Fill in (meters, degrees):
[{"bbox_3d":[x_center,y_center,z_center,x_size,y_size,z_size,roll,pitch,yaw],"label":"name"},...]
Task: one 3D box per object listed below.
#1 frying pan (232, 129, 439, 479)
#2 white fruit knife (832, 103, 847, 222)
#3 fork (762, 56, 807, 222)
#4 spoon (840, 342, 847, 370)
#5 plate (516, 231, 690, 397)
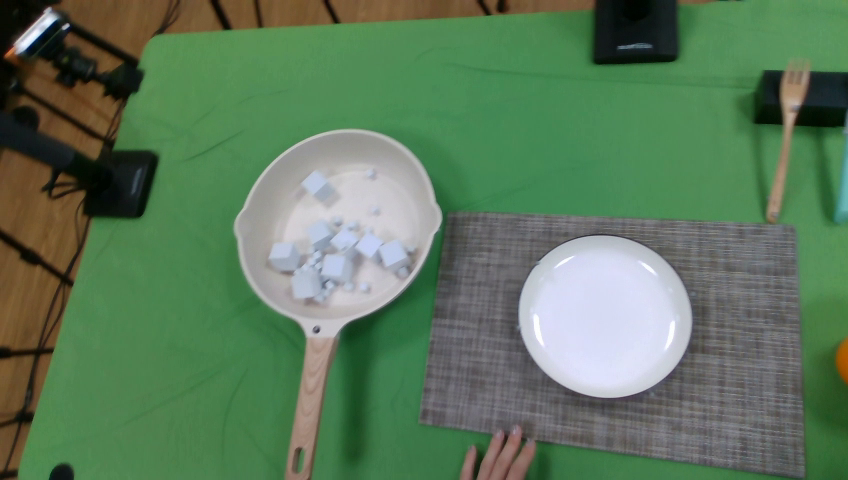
[{"bbox_3d":[-0.133,0.076,0.823,0.306,0.104,0.484,0,63,15],"label":"frying pan"},{"bbox_3d":[0.520,-0.126,0.743,0.016,0.027,0.207,6,88,15],"label":"white fruit knife"},{"bbox_3d":[0.450,-0.125,0.761,0.028,0.018,0.207,9,92,10],"label":"fork"},{"bbox_3d":[0.518,0.126,0.609,0.022,0.193,0.041,7,83,-28],"label":"spoon"},{"bbox_3d":[0.221,0.092,0.762,0.207,0.039,0.206,-4,70,13],"label":"plate"}]
